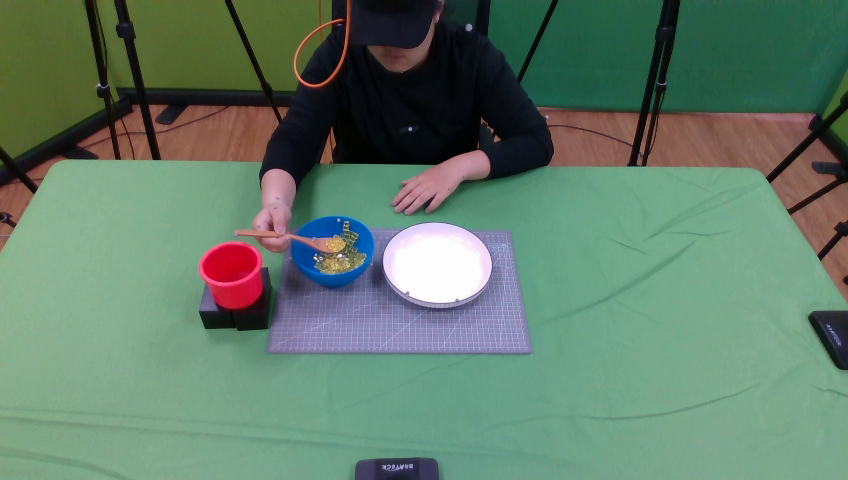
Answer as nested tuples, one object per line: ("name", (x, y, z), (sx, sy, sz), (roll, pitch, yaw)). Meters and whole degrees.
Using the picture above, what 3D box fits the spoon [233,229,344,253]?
("spoon", (-0.230, -0.004, 1.045), (0.194, 0.022, 0.041), (12, 38, -30))

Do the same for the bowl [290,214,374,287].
("bowl", (-0.166, 0.032, 1.111), (0.151, 0.077, 0.150), (2, 46, -2))

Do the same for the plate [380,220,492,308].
("plate", (0.022, 0.048, 1.138), (0.208, 0.039, 0.206), (2, 46, -2))
